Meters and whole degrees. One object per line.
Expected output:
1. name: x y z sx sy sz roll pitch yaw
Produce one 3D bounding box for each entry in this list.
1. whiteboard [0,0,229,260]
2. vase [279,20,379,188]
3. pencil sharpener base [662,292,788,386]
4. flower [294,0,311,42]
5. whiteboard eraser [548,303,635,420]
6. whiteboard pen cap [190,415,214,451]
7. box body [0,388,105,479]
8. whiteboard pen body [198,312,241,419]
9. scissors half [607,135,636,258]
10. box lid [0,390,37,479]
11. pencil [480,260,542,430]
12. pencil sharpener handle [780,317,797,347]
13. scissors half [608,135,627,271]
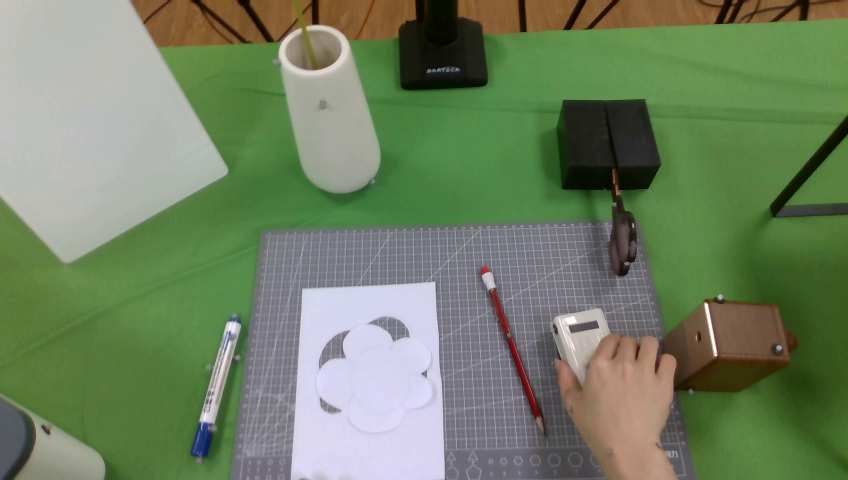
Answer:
1. whiteboard: -0.400 -0.172 0.671 0.217 0.309 0.142 -33 47 -15
2. vase: -0.106 -0.146 0.679 0.098 0.201 0.097 -1 61 2
3. pencil sharpener base: 0.292 0.100 0.593 0.077 0.108 0.061 3 61 -1
4. flower: -0.115 -0.197 0.612 0.044 0.365 0.038 -8 44 0
5. whiteboard eraser: 0.169 0.123 0.618 0.055 0.042 0.111 -12 62 -2
6. whiteboard pen cap: -0.219 0.191 0.600 0.018 0.018 0.033 4 58 3
7. box body: -0.507 0.208 0.516 0.363 0.161 0.253 23 65 12
8. whiteboard pen body: -0.214 0.140 0.629 0.017 0.017 0.139 5 60 4
9. scissors half: 0.219 -0.056 0.682 0.013 0.040 0.173 4 53 -2
10. box lid: -0.510 0.171 0.451 0.370 0.015 0.262 23 64 12
11. pencil: 0.092 0.107 0.647 0.012 0.012 0.192 -14 65 -6
12. pencil sharpener handle: 0.343 0.098 0.583 0.030 0.068 0.035 3 55 -1
13. scissors half: 0.219 -0.046 0.700 0.013 0.040 0.174 2 70 3
